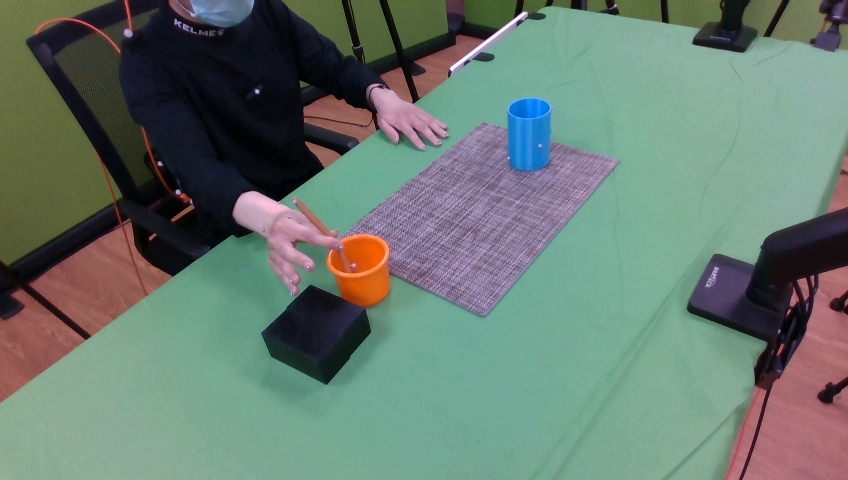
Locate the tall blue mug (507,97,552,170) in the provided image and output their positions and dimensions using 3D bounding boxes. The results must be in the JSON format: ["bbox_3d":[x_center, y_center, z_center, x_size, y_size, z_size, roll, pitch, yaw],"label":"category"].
[{"bbox_3d":[0.179,-0.198,1.101,0.078,0.108,0.106,-37,49,-28],"label":"tall blue mug"}]

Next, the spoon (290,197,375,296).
[{"bbox_3d":[-0.124,0.010,0.843,0.021,0.195,0.041,-22,33,15],"label":"spoon"}]
